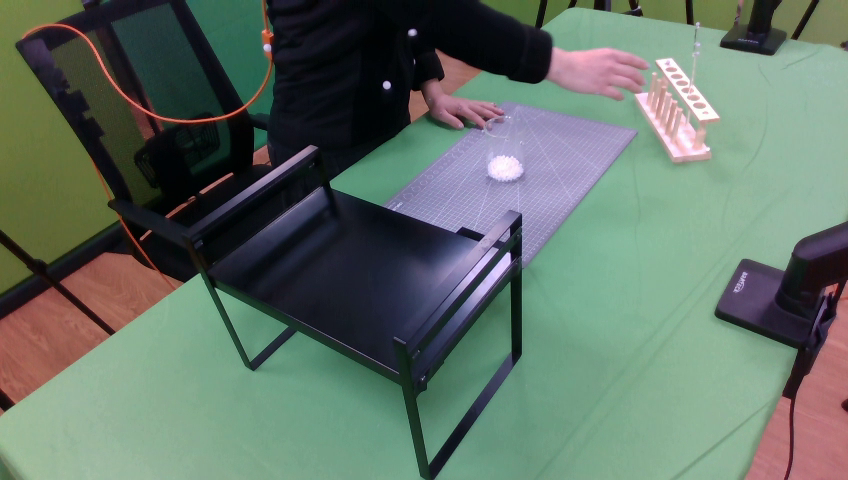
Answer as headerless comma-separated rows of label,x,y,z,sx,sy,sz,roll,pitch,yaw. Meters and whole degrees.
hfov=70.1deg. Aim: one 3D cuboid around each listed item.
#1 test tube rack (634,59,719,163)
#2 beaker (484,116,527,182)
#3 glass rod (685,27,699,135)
test tube rack,0.471,-0.251,1.148,0.067,0.085,0.241,-6,40,3
beaker,0.147,-0.162,1.079,0.073,0.101,0.084,13,44,22
glass rod,0.478,-0.279,1.078,0.008,0.200,0.008,-7,34,5
